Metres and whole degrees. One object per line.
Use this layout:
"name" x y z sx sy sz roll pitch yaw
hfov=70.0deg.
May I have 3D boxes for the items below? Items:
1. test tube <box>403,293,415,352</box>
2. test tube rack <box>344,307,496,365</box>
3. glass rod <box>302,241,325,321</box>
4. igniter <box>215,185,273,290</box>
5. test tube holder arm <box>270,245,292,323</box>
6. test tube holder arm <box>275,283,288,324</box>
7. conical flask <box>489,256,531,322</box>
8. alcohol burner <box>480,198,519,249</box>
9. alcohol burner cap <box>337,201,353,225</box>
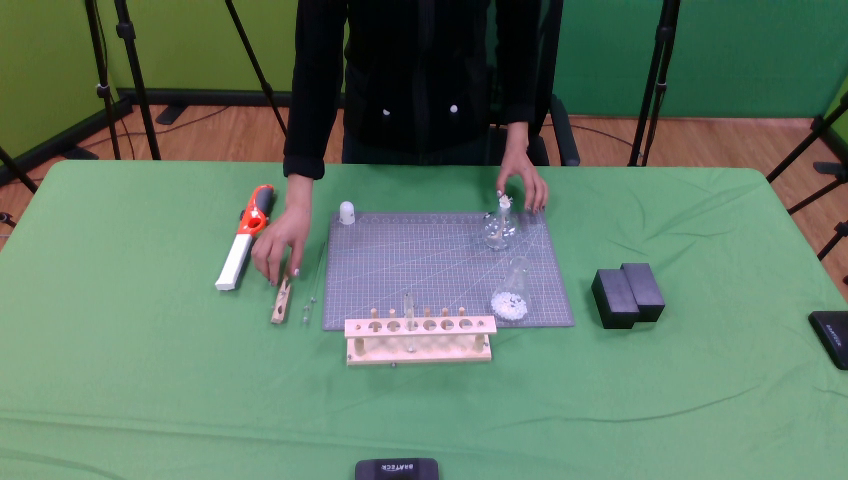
"test tube" -0.024 0.133 0.957 0.017 0.151 0.017 0 48 0
"test tube rack" -0.009 0.154 1.007 0.242 0.085 0.066 -1 46 -5
"glass rod" -0.204 0.071 1.124 0.008 0.008 0.198 4 44 1
"igniter" -0.347 -0.014 1.182 0.057 0.025 0.275 -1 45 8
"test tube holder arm" -0.259 0.076 1.106 0.013 0.015 0.177 28 38 -28
"test tube holder arm" -0.254 0.111 1.077 0.010 0.015 0.087 29 38 -27
"conical flask" 0.158 0.081 1.061 0.075 0.122 0.075 2 46 -2
"alcohol burner" 0.150 -0.039 1.182 0.078 0.119 0.077 3 47 -4
"alcohol burner cap" -0.160 -0.056 1.224 0.034 0.048 0.033 2 47 -2
